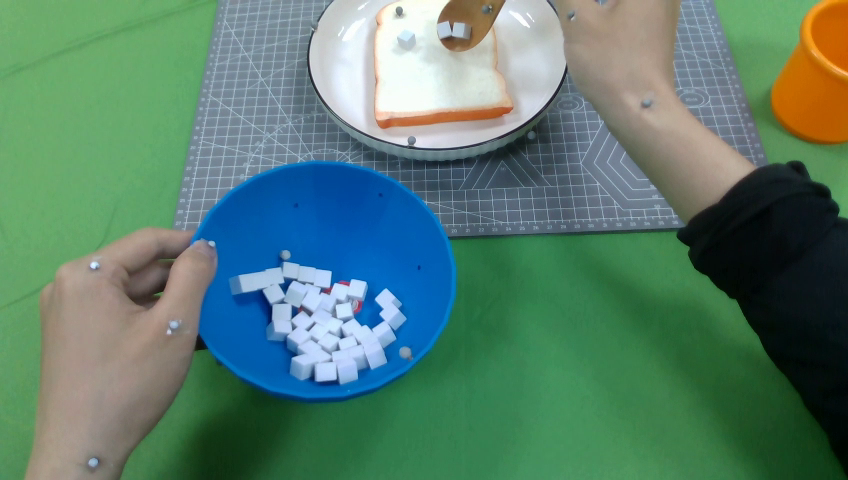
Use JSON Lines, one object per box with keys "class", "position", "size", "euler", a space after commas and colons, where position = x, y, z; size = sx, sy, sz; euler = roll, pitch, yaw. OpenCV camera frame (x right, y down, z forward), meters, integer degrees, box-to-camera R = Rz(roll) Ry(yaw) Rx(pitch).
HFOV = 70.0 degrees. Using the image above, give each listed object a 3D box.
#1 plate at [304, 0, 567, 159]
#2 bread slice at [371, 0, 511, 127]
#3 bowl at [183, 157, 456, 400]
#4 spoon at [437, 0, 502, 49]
{"class": "plate", "position": [0.008, -0.148, 0.496], "size": [0.209, 0.038, 0.207], "euler": [-1, 63, 2]}
{"class": "bread slice", "position": [0.005, -0.152, 0.501], "size": [0.107, 0.018, 0.133], "euler": [-9, 64, -1]}
{"class": "bowl", "position": [-0.061, 0.032, 0.372], "size": [0.152, 0.077, 0.150], "euler": [5, 60, -8]}
{"class": "spoon", "position": [0.065, -0.177, 0.407], "size": [0.022, 0.193, 0.041], "euler": [-22, 96, -28]}
